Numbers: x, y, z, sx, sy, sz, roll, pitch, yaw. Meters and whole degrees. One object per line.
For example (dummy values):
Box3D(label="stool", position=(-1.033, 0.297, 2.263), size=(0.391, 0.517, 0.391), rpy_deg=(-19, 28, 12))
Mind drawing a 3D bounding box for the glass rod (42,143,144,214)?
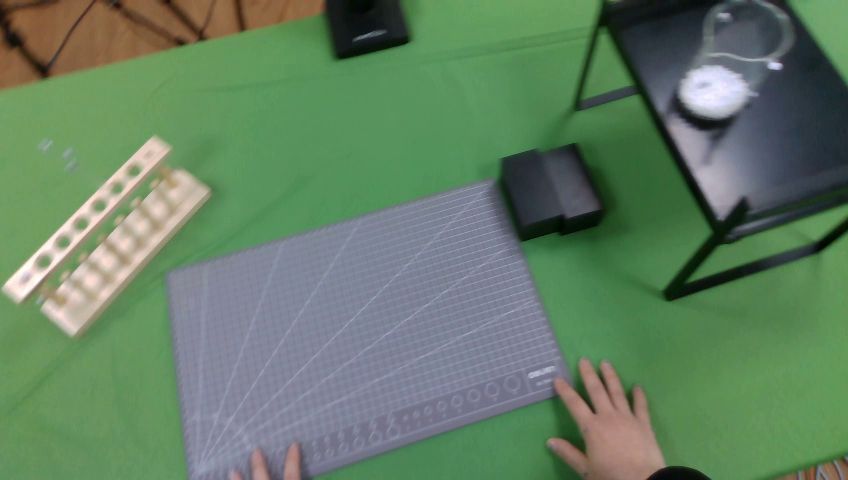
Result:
Box3D(label="glass rod", position=(-0.387, -0.069, 0.726), size=(0.008, 0.201, 0.008), rpy_deg=(-2, 72, 5))

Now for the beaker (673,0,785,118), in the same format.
Box3D(label="beaker", position=(0.291, -0.174, 0.595), size=(0.084, 0.101, 0.073), rpy_deg=(-30, 67, -8))

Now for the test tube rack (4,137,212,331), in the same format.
Box3D(label="test tube rack", position=(-0.392, -0.008, 0.772), size=(0.066, 0.086, 0.242), rpy_deg=(33, 72, 17))
